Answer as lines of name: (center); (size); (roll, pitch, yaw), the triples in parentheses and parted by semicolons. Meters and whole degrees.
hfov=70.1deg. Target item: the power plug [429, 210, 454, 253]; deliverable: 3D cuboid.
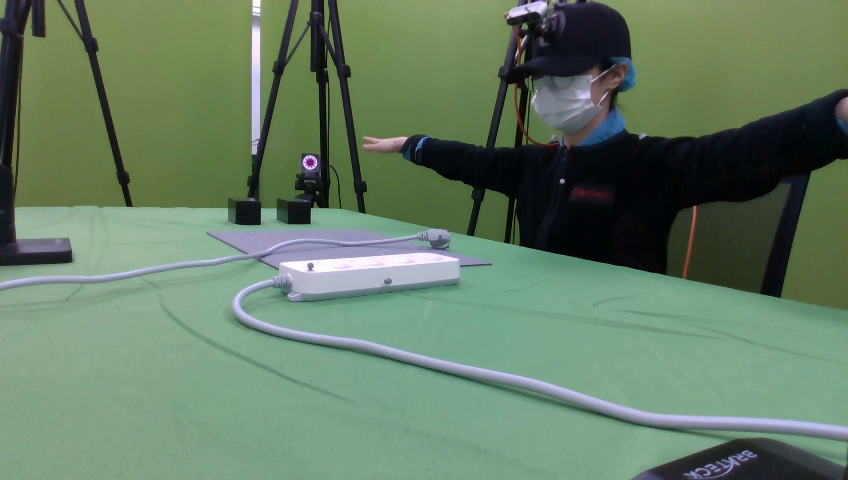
power plug: (0.024, -0.013, 0.983); (0.035, 0.072, 0.053); (17, 54, 19)

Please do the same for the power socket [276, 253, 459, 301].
power socket: (-0.056, 0.037, 0.674); (0.228, 0.032, 0.072); (-3, 8, -38)
